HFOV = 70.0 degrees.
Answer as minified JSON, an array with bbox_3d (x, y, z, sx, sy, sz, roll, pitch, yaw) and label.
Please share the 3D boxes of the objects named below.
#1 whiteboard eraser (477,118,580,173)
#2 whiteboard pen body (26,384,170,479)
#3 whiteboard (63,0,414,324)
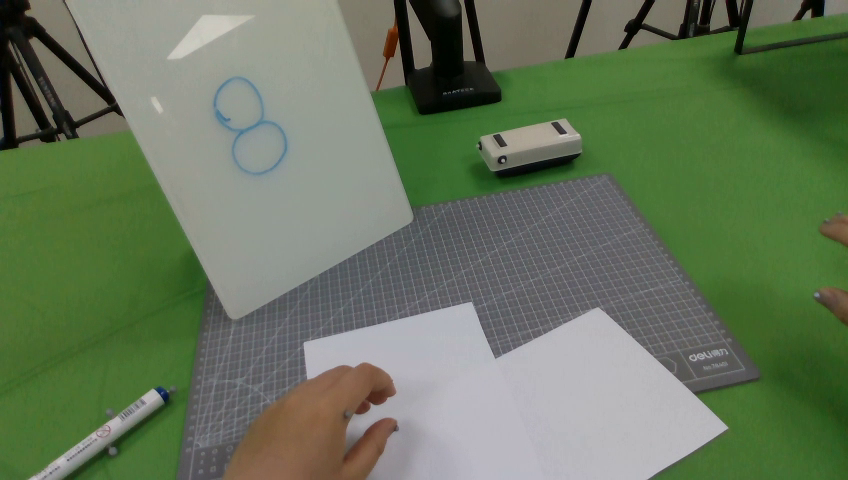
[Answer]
[{"bbox_3d":[0.123,-0.109,0.716,0.113,0.042,0.055,-12,42,-8],"label":"whiteboard eraser"},{"bbox_3d":[-0.258,0.159,0.460,0.017,0.017,0.140,25,48,32],"label":"whiteboard pen body"},{"bbox_3d":[-0.176,-0.115,0.603,0.217,0.308,0.142,-30,25,-25],"label":"whiteboard"}]
